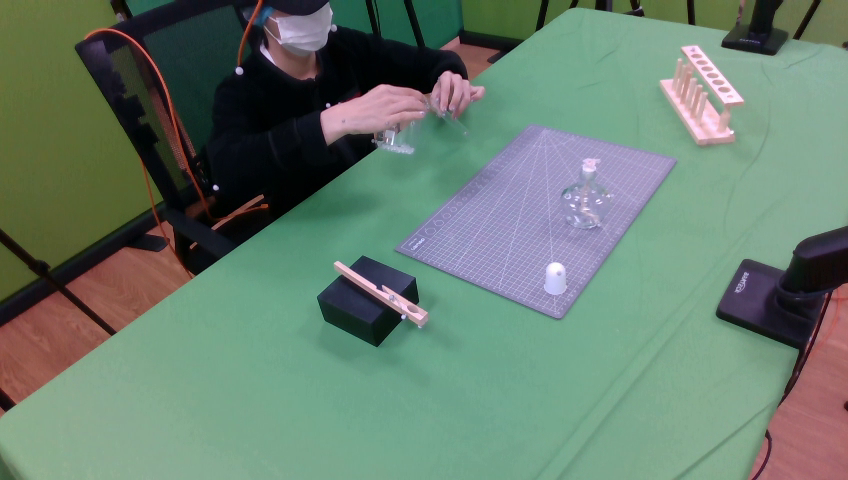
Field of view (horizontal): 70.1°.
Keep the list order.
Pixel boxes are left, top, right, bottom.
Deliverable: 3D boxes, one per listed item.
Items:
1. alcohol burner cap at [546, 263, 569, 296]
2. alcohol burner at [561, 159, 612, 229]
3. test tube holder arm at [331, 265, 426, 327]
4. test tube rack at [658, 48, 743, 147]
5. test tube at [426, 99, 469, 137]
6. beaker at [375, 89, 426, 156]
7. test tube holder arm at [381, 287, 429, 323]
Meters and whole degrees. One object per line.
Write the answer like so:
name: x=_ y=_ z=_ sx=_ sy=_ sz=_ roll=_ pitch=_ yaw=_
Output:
alcohol burner cap: x=0.191 y=0.053 z=0.862 sx=0.034 sy=0.048 sz=0.033 roll=-5 pitch=40 yaw=4
alcohol burner: x=0.257 y=-0.077 z=0.951 sx=0.078 sy=0.119 sz=0.077 roll=-3 pitch=40 yaw=3
test tube holder arm: x=-0.066 y=0.074 z=0.828 sx=0.177 sy=0.015 sz=0.013 roll=25 pitch=42 yaw=33
test tube rack: x=0.532 y=-0.284 z=1.181 sx=0.067 sy=0.085 sz=0.241 roll=-5 pitch=40 yaw=4
test tube: x=0.047 y=-0.222 z=1.116 sx=0.017 sy=0.151 sz=0.017 roll=-8 pitch=74 yaw=29
beaker: x=-0.039 y=-0.197 z=1.026 sx=0.085 sy=0.100 sz=0.073 roll=4 pitch=11 yaw=-42
test tube holder arm: x=-0.028 y=0.087 z=0.807 sx=0.087 sy=0.015 sz=0.010 roll=25 pitch=42 yaw=33
